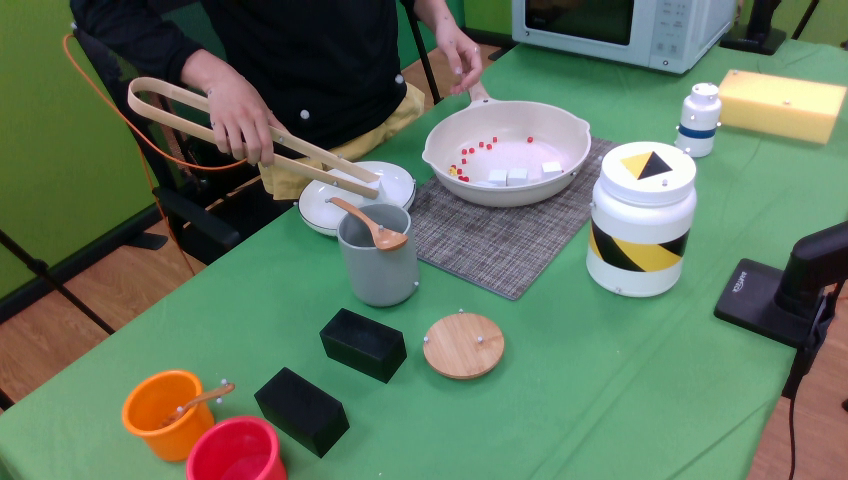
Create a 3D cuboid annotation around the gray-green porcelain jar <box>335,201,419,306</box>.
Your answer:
[{"bbox_3d":[-0.064,0.024,0.872,0.106,0.127,0.105,-4,41,4],"label":"gray-green porcelain jar"}]

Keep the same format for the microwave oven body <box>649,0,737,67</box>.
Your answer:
[{"bbox_3d":[0.475,-0.602,1.411,0.438,0.261,0.327,23,50,32],"label":"microwave oven body"}]

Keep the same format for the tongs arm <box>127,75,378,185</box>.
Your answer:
[{"bbox_3d":[-0.253,-0.159,0.930,0.386,0.026,0.050,24,49,-13],"label":"tongs arm"}]

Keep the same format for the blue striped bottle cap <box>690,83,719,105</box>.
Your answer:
[{"bbox_3d":[0.481,-0.251,1.038,0.044,0.021,0.044,-5,40,5],"label":"blue striped bottle cap"}]

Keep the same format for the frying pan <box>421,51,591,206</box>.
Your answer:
[{"bbox_3d":[0.127,-0.233,1.154,0.307,0.103,0.484,-11,49,-5],"label":"frying pan"}]

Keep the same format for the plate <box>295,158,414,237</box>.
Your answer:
[{"bbox_3d":[-0.118,-0.070,1.055,0.207,0.039,0.206,-5,40,5],"label":"plate"}]

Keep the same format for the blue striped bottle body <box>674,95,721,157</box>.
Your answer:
[{"bbox_3d":[0.486,-0.213,1.072,0.063,0.121,0.063,-4,41,4],"label":"blue striped bottle body"}]

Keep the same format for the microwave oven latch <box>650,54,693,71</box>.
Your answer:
[{"bbox_3d":[0.531,-0.386,1.301,0.078,0.029,0.030,26,51,33],"label":"microwave oven latch"}]

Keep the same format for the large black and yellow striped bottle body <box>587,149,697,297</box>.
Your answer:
[{"bbox_3d":[0.298,-0.026,0.835,0.131,0.185,0.130,-4,41,4],"label":"large black and yellow striped bottle body"}]

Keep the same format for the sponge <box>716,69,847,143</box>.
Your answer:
[{"bbox_3d":[0.663,-0.256,1.142,0.205,0.061,0.118,19,47,28],"label":"sponge"}]

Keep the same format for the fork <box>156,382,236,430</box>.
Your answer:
[{"bbox_3d":[-0.262,0.189,0.690,0.018,0.206,0.028,49,43,-7],"label":"fork"}]

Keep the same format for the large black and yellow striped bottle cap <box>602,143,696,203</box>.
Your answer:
[{"bbox_3d":[0.289,-0.088,0.779,0.115,0.019,0.114,-5,39,4],"label":"large black and yellow striped bottle cap"}]

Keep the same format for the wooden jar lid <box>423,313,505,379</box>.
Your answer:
[{"bbox_3d":[0.053,0.142,0.800,0.108,0.021,0.108,-5,39,4],"label":"wooden jar lid"}]

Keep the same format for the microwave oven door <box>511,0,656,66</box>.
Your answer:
[{"bbox_3d":[0.351,-0.539,1.349,0.353,0.245,0.039,24,50,31],"label":"microwave oven door"}]

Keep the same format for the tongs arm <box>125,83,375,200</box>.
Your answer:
[{"bbox_3d":[-0.256,-0.140,0.914,0.390,0.027,0.028,21,53,-16],"label":"tongs arm"}]

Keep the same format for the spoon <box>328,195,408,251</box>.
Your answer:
[{"bbox_3d":[-0.083,-0.029,0.829,0.042,0.022,0.192,-32,42,-21],"label":"spoon"}]
